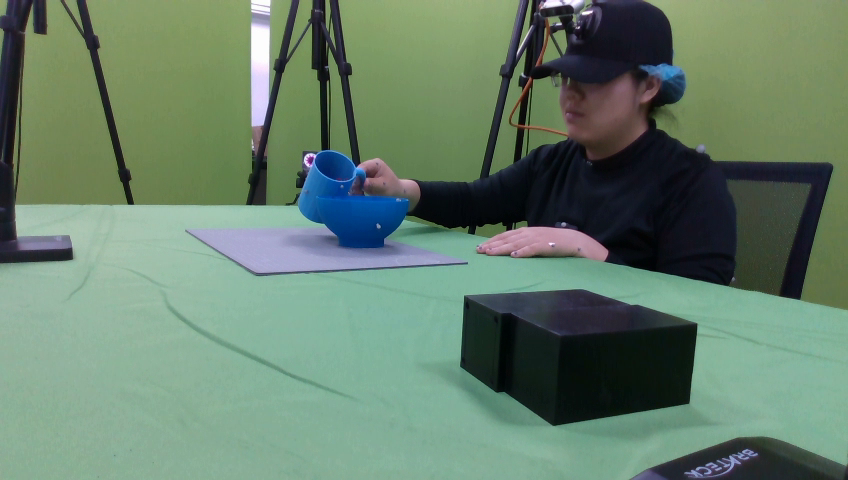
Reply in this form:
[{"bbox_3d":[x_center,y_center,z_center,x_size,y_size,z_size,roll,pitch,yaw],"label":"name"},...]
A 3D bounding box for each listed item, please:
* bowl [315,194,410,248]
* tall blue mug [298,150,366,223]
[{"bbox_3d":[-0.100,-0.030,0.971,0.151,0.077,0.151,2,7,0],"label":"bowl"},{"bbox_3d":[-0.162,-0.099,1.065,0.077,0.108,0.107,37,42,7],"label":"tall blue mug"}]
